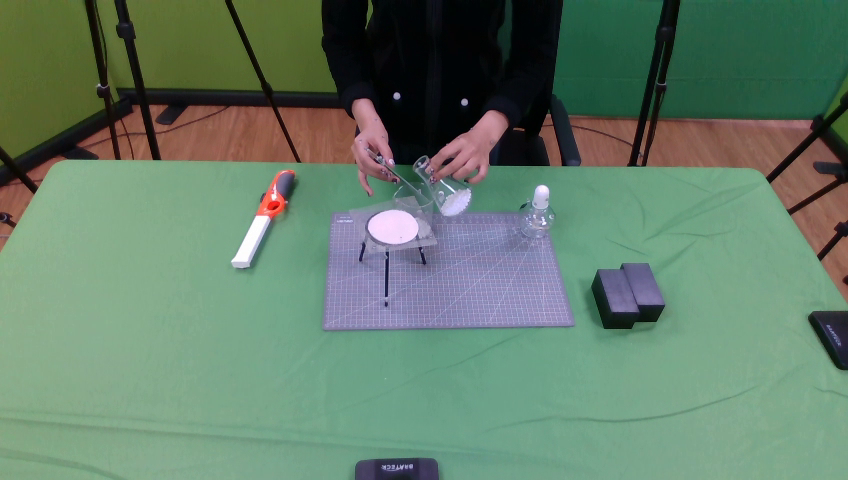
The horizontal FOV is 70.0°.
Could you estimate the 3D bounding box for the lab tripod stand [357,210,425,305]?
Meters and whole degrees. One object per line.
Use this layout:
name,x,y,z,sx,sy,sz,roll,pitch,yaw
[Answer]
lab tripod stand,-0.060,0.020,1.094,0.148,0.132,0.147,3,44,-2

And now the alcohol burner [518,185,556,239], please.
alcohol burner,0.227,-0.061,1.209,0.078,0.120,0.077,1,44,-1

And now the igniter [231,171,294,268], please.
igniter,-0.321,-0.051,1.220,0.057,0.025,0.275,2,45,11

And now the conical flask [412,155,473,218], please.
conical flask,0.029,-0.104,1.131,0.075,0.122,0.075,-33,29,22

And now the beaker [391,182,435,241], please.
beaker,-0.023,-0.053,1.192,0.084,0.101,0.073,-2,46,-5

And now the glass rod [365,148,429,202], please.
glass rod,-0.046,-0.118,1.121,0.008,0.201,0.008,-17,57,29

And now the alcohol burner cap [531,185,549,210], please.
alcohol burner cap,0.228,-0.085,1.183,0.034,0.048,0.033,-1,48,2

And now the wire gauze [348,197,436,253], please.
wire gauze,-0.056,-0.026,1.045,0.125,0.011,0.120,-11,46,-17
